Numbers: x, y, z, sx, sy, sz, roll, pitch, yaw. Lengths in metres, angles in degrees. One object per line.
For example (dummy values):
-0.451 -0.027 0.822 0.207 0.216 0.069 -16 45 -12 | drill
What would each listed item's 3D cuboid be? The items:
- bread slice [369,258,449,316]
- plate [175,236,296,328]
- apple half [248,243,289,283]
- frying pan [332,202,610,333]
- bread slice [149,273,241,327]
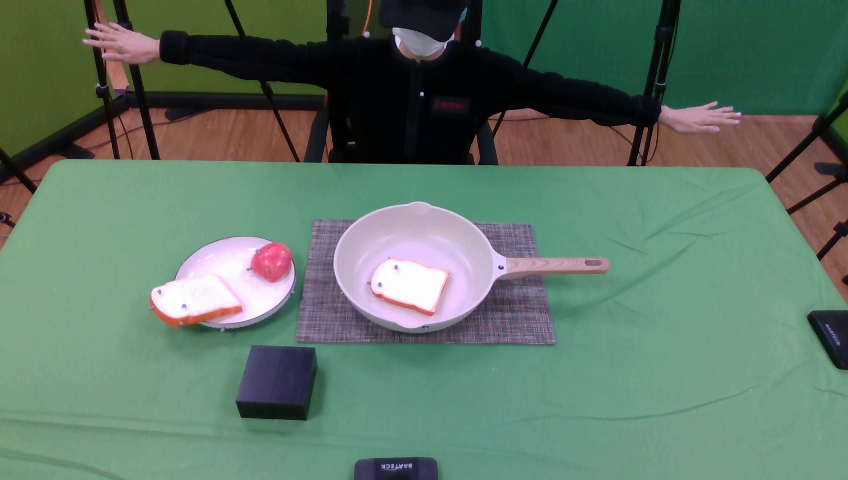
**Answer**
-0.031 0.083 1.108 0.134 0.018 0.106 13 45 7 | bread slice
-0.335 0.077 1.087 0.208 0.039 0.206 2 46 -2 | plate
-0.287 0.035 1.107 0.081 0.033 0.081 -5 65 12 | apple half
0.085 0.052 1.093 0.488 0.103 0.305 -1 46 6 | frying pan
-0.392 0.102 1.029 0.132 0.019 0.104 -14 43 -45 | bread slice
